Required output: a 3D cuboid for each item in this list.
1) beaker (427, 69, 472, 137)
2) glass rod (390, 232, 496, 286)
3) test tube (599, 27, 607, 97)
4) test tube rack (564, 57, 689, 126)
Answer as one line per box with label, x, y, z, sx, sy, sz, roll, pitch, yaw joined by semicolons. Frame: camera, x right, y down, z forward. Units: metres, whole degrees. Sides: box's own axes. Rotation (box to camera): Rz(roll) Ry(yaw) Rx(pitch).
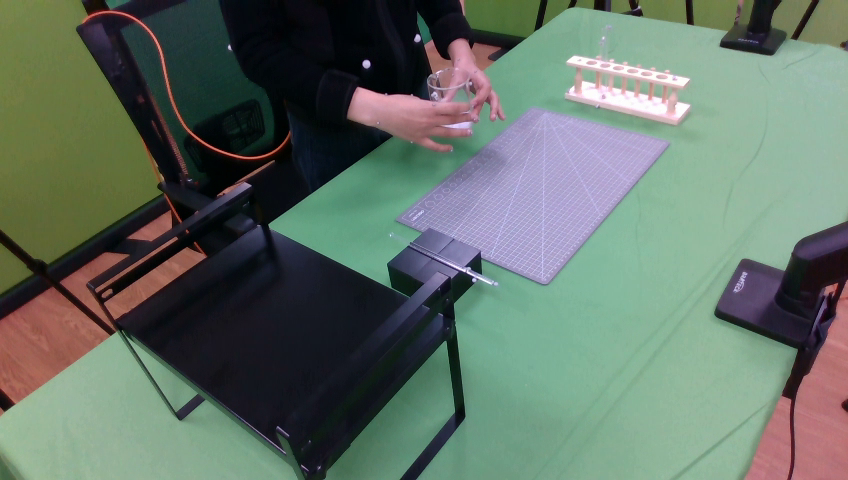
beaker;0.046;-0.242;1.075;0.074;0.101;0.083;-30;45;-22
glass rod;0.022;0.025;0.878;0.198;0.008;0.008;25;50;33
test tube;0.358;-0.353;1.210;0.017;0.151;0.017;-8;43;8
test tube rack;0.411;-0.311;1.230;0.240;0.085;0.067;24;49;32
